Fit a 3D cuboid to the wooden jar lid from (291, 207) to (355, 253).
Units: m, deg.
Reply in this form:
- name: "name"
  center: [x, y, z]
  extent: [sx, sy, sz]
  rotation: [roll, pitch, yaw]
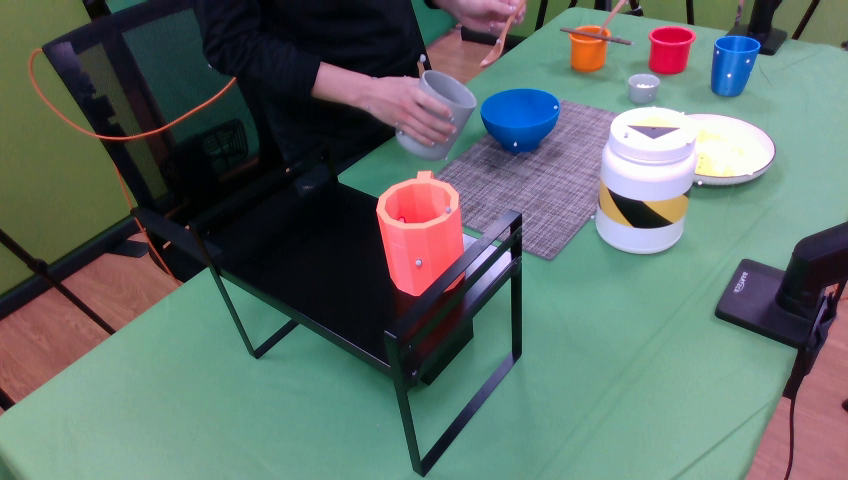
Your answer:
- name: "wooden jar lid"
  center: [-0.169, -0.015, 1.026]
  extent: [0.108, 0.021, 0.108]
  rotation: [-4, 39, 4]

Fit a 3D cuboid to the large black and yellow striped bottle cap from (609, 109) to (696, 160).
- name: "large black and yellow striped bottle cap"
  center: [0.319, -0.150, 0.849]
  extent: [0.115, 0.019, 0.114]
  rotation: [-4, 39, 3]

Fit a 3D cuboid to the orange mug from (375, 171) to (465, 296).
- name: "orange mug"
  center: [0.000, -0.016, 0.661]
  extent: [0.083, 0.101, 0.125]
  rotation: [-2, 45, 8]

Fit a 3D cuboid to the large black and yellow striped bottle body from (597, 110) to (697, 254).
- name: "large black and yellow striped bottle body"
  center: [0.331, -0.086, 0.904]
  extent: [0.131, 0.185, 0.130]
  rotation: [-5, 41, 4]

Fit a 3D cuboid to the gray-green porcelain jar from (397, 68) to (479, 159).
- name: "gray-green porcelain jar"
  center: [0.020, -0.214, 1.047]
  extent: [0.106, 0.126, 0.105]
  rotation: [22, 34, -15]

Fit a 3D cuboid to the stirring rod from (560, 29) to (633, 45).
- name: "stirring rod"
  center: [0.381, -0.452, 1.344]
  extent: [0.174, 0.006, 0.014]
  rotation: [25, 49, 33]

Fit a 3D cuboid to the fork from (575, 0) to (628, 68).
- name: "fork"
  center: [0.413, -0.481, 1.377]
  extent: [0.207, 0.019, 0.028]
  rotation: [-56, 43, 12]

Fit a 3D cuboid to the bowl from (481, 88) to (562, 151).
- name: "bowl"
  center: [0.187, -0.223, 1.162]
  extent: [0.151, 0.077, 0.150]
  rotation: [-5, 40, 4]

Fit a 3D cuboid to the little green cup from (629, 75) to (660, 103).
- name: "little green cup"
  center: [0.457, -0.314, 1.260]
  extent: [0.061, 0.039, 0.061]
  rotation: [-4, 40, 4]

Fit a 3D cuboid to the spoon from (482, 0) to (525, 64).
- name: "spoon"
  center: [0.161, -0.404, 1.118]
  extent: [0.193, 0.022, 0.041]
  rotation: [-62, 22, -2]

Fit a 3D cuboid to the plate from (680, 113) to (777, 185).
- name: "plate"
  center: [0.506, -0.158, 1.073]
  extent: [0.209, 0.038, 0.208]
  rotation: [-4, 40, 4]

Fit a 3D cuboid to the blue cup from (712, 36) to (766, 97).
- name: "blue cup"
  center: [0.627, -0.350, 1.227]
  extent: [0.092, 0.100, 0.092]
  rotation: [-4, 39, 4]
